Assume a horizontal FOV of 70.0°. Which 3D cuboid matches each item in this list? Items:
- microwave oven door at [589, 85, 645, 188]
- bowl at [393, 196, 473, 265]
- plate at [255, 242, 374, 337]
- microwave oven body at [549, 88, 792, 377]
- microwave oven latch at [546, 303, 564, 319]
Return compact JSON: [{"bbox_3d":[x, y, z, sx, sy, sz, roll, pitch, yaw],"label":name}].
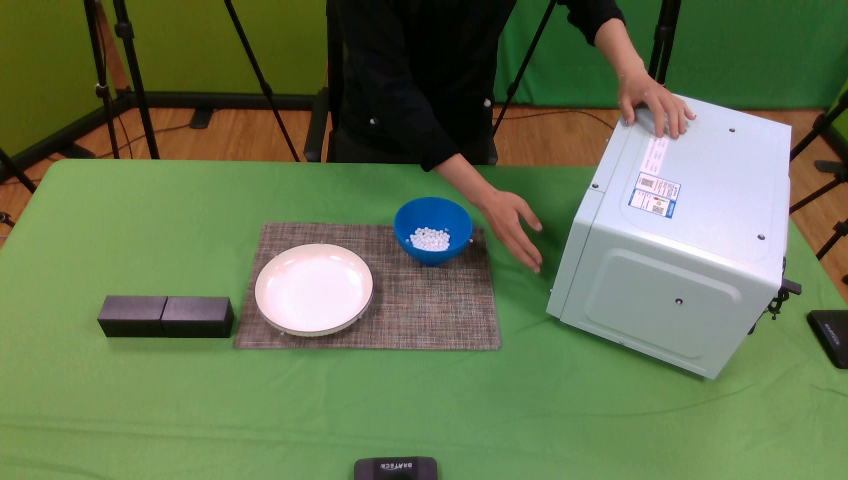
[{"bbox_3d":[0.341,-0.107,1.149,0.039,0.245,0.354,20,48,15],"label":"microwave oven door"},{"bbox_3d":[0.014,-0.006,1.159,0.151,0.077,0.150,2,46,-2],"label":"bowl"},{"bbox_3d":[-0.192,0.090,1.079,0.208,0.039,0.206,2,46,-2],"label":"plate"},{"bbox_3d":[0.456,-0.028,1.088,0.325,0.261,0.440,20,47,16],"label":"microwave oven body"},{"bbox_3d":[0.242,0.102,1.081,0.030,0.029,0.079,22,48,17],"label":"microwave oven latch"}]
